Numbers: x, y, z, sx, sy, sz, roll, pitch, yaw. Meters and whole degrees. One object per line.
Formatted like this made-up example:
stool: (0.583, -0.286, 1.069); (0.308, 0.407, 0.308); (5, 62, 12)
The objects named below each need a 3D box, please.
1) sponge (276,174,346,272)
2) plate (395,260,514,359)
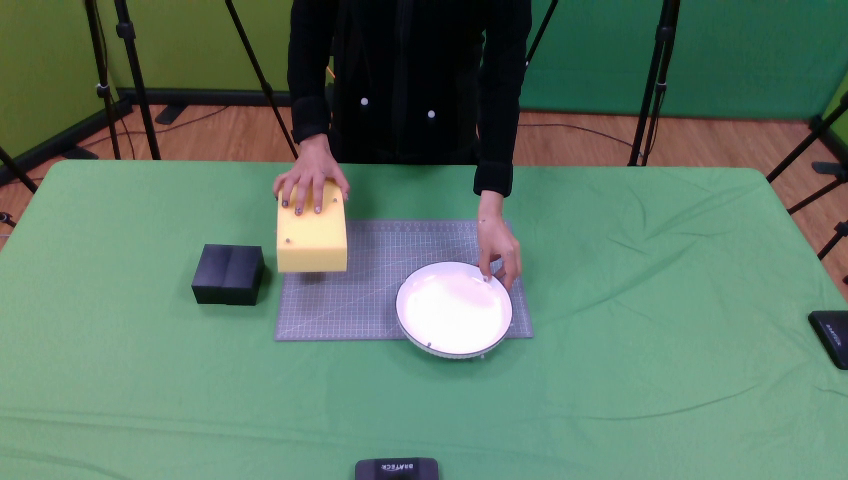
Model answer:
sponge: (-0.208, -0.035, 1.109); (0.118, 0.061, 0.205); (-2, 44, -11)
plate: (0.052, 0.124, 1.066); (0.209, 0.038, 0.208); (2, 46, -2)
